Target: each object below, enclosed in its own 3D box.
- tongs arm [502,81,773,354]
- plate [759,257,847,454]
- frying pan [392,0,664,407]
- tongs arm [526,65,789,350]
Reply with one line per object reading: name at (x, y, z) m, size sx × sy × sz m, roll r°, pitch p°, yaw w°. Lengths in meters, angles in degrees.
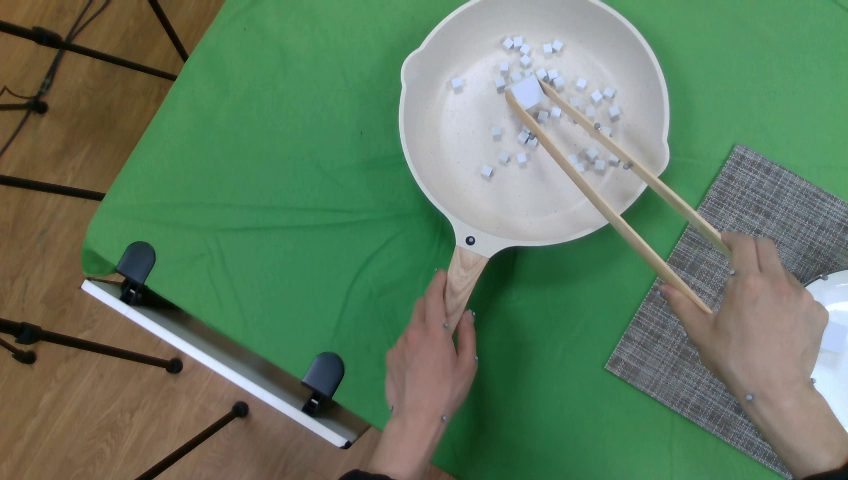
tongs arm at (0.181, -0.041, 0.592) m, size 0.028 × 0.028 × 0.383 m, roll -31°, pitch 57°, yaw -4°
plate at (0.462, 0.122, 0.647) m, size 0.207 × 0.039 × 0.207 m, roll -1°, pitch 84°, yaw 5°
frying pan at (0.072, -0.050, 0.666) m, size 0.306 × 0.103 × 0.486 m, roll 23°, pitch 78°, yaw 7°
tongs arm at (0.202, -0.054, 0.592) m, size 0.051 × 0.027 × 0.380 m, roll -36°, pitch 57°, yaw -3°
